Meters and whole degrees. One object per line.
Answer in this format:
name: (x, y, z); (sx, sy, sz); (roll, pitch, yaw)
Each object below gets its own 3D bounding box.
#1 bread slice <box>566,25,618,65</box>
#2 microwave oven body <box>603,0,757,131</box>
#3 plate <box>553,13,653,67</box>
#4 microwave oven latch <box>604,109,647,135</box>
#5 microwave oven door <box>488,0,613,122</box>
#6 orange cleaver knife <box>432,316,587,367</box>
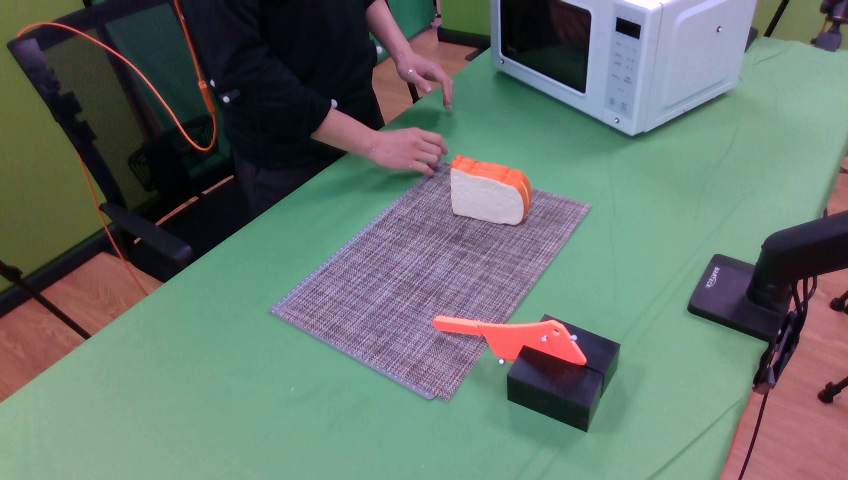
bread slice: (0.362, -0.427, 1.324); (0.107, 0.018, 0.133); (0, 51, 6)
microwave oven body: (0.396, -0.448, 1.248); (0.327, 0.261, 0.437); (-27, 44, -21)
plate: (0.385, -0.428, 1.311); (0.207, 0.039, 0.206); (-3, 45, 4)
microwave oven latch: (0.378, -0.225, 1.139); (0.030, 0.029, 0.078); (-26, 43, -20)
microwave oven door: (0.251, -0.412, 1.219); (0.039, 0.245, 0.352); (-27, 44, -21)
orange cleaver knife: (0.101, 0.127, 0.761); (0.210, 0.077, 0.012); (-1, 34, 40)
